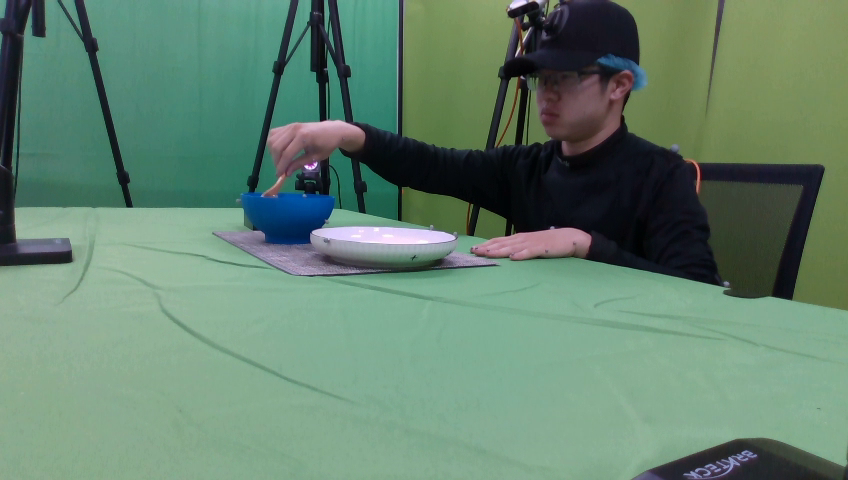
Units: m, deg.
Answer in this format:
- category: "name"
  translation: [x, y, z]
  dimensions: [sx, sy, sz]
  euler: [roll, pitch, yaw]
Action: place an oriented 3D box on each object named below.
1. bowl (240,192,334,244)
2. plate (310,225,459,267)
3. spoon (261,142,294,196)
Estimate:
- category: "bowl"
  translation: [-0.223, -0.037, 0.992]
  dimensions: [0.151, 0.077, 0.151]
  euler: [2, 7, 0]
- category: "plate"
  translation: [-0.055, 0.008, 0.851]
  dimensions: [0.208, 0.039, 0.207]
  euler: [2, 7, 0]
- category: "spoon"
  translation: [-0.247, -0.106, 1.039]
  dimensions: [0.021, 0.042, 0.193]
  euler: [-4, 45, 16]
